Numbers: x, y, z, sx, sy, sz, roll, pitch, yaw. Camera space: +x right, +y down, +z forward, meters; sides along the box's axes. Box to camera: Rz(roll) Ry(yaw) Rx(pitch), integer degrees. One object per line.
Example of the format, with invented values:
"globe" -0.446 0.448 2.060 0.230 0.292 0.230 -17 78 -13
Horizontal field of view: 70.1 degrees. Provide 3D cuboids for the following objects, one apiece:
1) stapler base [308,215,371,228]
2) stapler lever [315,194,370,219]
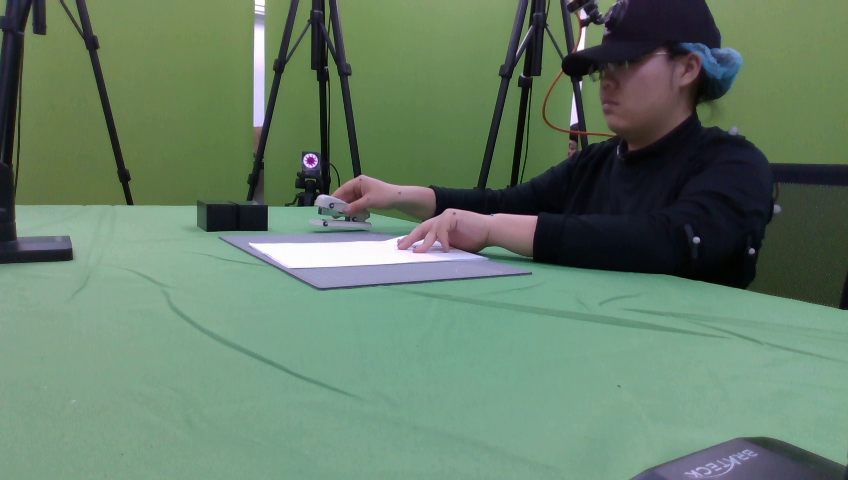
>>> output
"stapler base" -0.163 -0.040 1.179 0.131 0.024 0.041 4 12 -42
"stapler lever" -0.158 -0.064 1.177 0.119 0.040 0.026 4 12 -42
